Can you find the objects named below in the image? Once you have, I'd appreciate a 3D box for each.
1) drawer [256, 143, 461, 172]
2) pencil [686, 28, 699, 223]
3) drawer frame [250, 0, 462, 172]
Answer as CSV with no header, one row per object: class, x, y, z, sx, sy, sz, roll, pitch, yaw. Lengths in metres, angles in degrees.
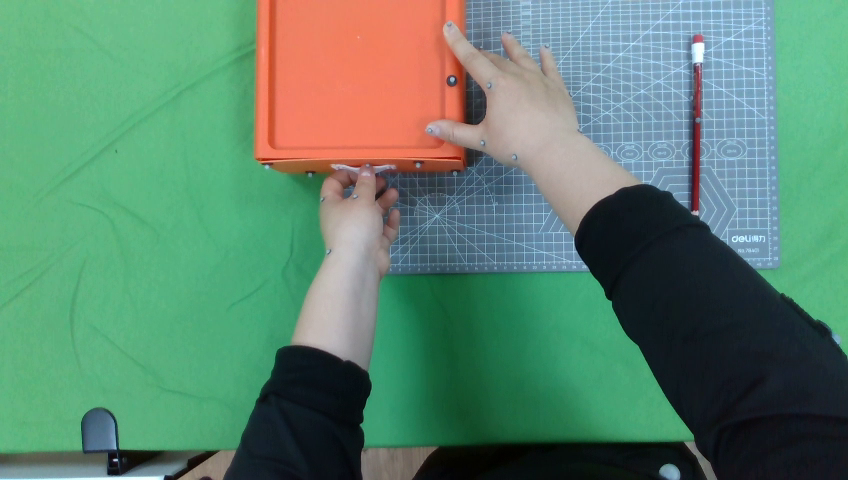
drawer,-0.062,-0.173,0.599,0.194,0.073,0.211,-1,88,6
pencil,0.268,-0.114,0.606,0.012,0.012,0.194,0,91,5
drawer frame,-0.064,-0.178,0.599,0.201,0.083,0.213,-1,89,6
